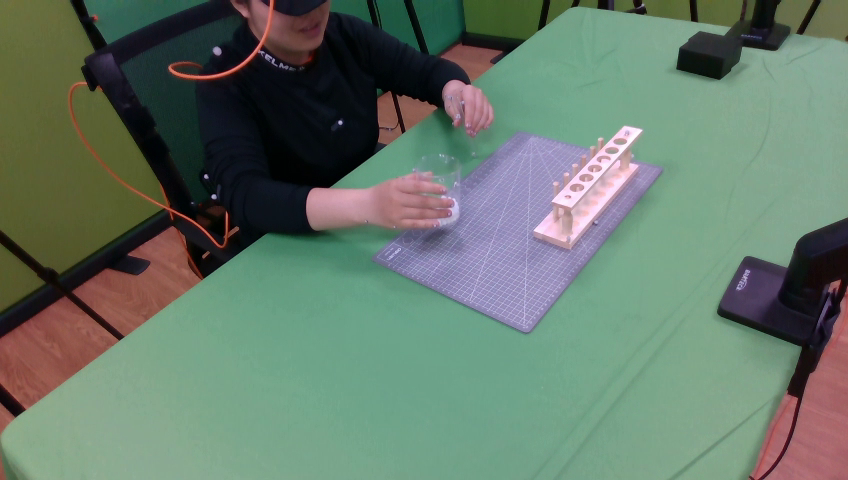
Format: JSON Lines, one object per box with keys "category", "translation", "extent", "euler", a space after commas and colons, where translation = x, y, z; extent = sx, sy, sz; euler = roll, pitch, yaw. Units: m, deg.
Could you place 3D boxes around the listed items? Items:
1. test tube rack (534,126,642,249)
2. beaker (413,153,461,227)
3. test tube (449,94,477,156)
{"category": "test tube rack", "translation": [0.271, -0.095, 0.990], "extent": [0.066, 0.085, 0.243], "euler": [23, 49, 33]}
{"category": "beaker", "translation": [0.024, -0.078, 0.960], "extent": [0.073, 0.100, 0.084], "euler": [12, 38, 19]}
{"category": "test tube", "translation": [0.074, -0.207, 1.109], "extent": [0.017, 0.151, 0.017], "euler": [-10, 52, 14]}
